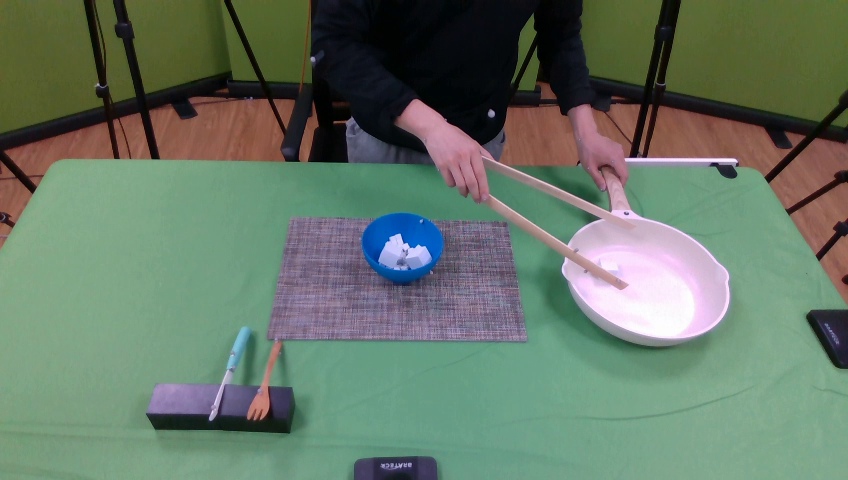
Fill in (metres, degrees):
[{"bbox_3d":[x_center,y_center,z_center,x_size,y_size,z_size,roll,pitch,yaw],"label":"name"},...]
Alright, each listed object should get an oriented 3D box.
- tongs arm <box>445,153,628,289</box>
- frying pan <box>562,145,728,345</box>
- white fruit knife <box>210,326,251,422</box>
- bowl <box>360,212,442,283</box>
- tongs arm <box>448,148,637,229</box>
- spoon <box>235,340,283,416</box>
[{"bbox_3d":[0.200,-0.031,1.064,0.385,0.026,0.050,30,58,-8],"label":"tongs arm"},{"bbox_3d":[0.397,-0.008,1.179,0.307,0.103,0.485,1,55,-4],"label":"frying pan"},{"bbox_3d":[-0.300,0.201,0.941,0.016,0.027,0.206,-2,32,1],"label":"white fruit knife"},{"bbox_3d":[-0.044,0.026,1.125,0.151,0.077,0.150,2,46,-2],"label":"bowl"},{"bbox_3d":[0.223,-0.090,1.104,0.389,0.028,0.028,21,64,-14],"label":"tongs arm"},{"bbox_3d":[-0.245,0.207,0.932,0.042,0.021,0.193,30,24,-9],"label":"spoon"}]
